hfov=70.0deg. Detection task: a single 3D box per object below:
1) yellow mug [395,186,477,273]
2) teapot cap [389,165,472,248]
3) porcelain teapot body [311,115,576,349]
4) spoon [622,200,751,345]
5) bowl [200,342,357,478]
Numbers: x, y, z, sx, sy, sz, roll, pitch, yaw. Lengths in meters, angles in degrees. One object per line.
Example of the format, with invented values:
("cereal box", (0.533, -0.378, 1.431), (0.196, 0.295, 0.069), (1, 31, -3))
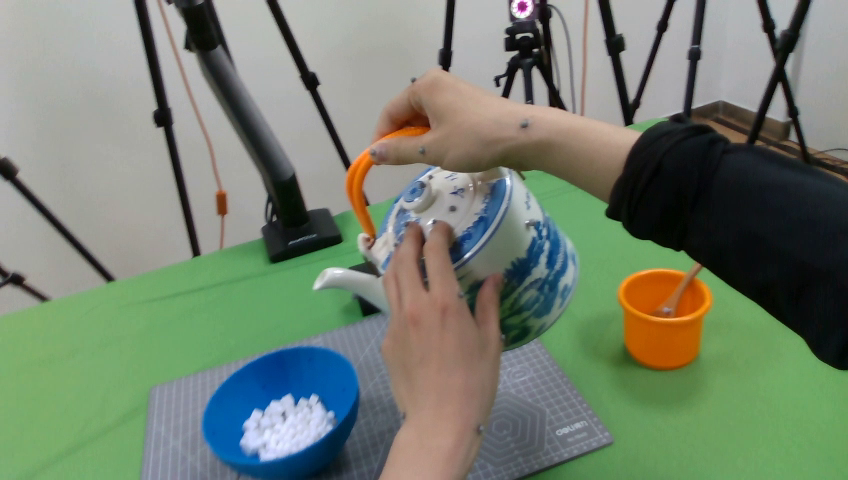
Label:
("yellow mug", (0.012, -0.010, 0.780), (0.099, 0.064, 0.130), (2, 36, 19))
("teapot cap", (0.002, -0.031, 0.506), (0.085, 0.044, 0.084), (-25, 44, 27))
("porcelain teapot body", (0.003, 0.006, 0.536), (0.205, 0.228, 0.143), (-36, 38, 14))
("spoon", (0.279, 0.036, 0.644), (0.022, 0.194, 0.041), (26, 16, -30))
("bowl", (-0.133, 0.179, 0.598), (0.151, 0.077, 0.150), (-7, 31, 5))
